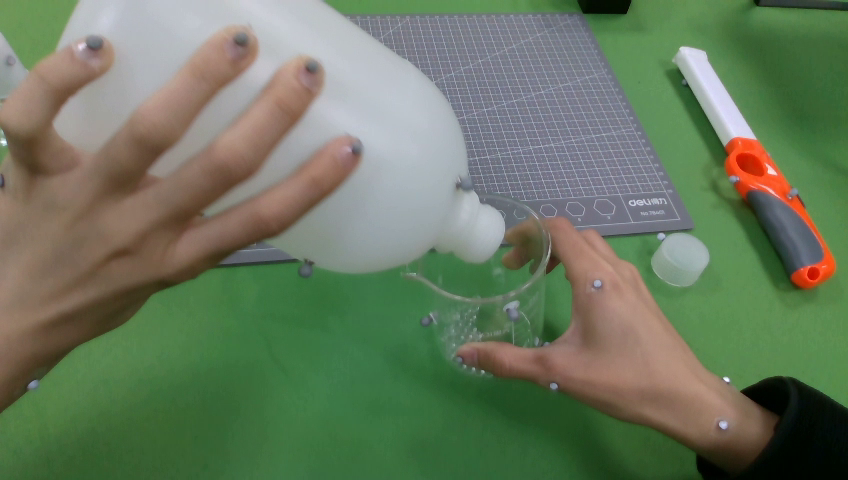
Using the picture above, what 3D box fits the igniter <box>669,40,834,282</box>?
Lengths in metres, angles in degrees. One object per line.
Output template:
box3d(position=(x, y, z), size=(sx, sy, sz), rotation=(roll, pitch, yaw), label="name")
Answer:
box3d(position=(0.275, -0.081, 0.523), size=(0.057, 0.025, 0.273), rotation=(4, 53, -17), label="igniter")

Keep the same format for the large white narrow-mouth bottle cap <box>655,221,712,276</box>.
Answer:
box3d(position=(0.194, 0.006, 0.454), size=(0.038, 0.024, 0.037), rotation=(3, 53, -3), label="large white narrow-mouth bottle cap")

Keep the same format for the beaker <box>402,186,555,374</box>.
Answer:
box3d(position=(0.034, 0.030, 0.360), size=(0.084, 0.101, 0.073), rotation=(-16, 52, -3), label="beaker")

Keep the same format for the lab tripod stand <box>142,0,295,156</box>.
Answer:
box3d(position=(-0.156, -0.159, 0.463), size=(0.148, 0.132, 0.147), rotation=(4, 53, -5), label="lab tripod stand")

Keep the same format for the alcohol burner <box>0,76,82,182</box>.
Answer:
box3d(position=(-0.285, -0.098, 0.420), size=(0.078, 0.120, 0.077), rotation=(4, 51, -5), label="alcohol burner")

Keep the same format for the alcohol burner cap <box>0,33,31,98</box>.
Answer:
box3d(position=(-0.282, -0.119, 0.390), size=(0.034, 0.048, 0.033), rotation=(2, 59, -4), label="alcohol burner cap")

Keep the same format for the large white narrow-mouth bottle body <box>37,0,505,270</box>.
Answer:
box3d(position=(-0.045, -0.043, 0.266), size=(0.196, 0.102, 0.101), rotation=(28, 48, -25), label="large white narrow-mouth bottle body")
